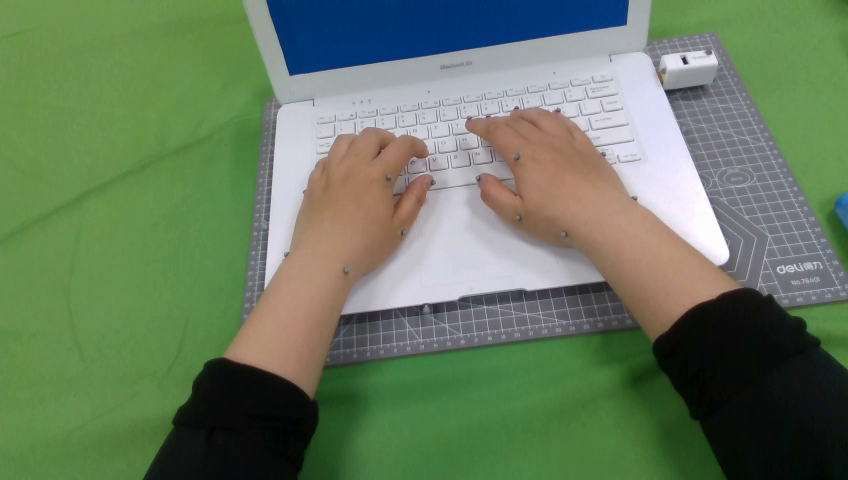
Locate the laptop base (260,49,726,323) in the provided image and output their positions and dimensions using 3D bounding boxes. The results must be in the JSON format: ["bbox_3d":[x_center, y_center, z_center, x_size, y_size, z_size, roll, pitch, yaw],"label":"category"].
[{"bbox_3d":[0.040,-0.054,0.516,0.354,0.023,0.233,-8,59,3],"label":"laptop base"}]

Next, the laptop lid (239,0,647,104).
[{"bbox_3d":[0.014,-0.236,0.500,0.356,0.244,0.013,-9,43,4],"label":"laptop lid"}]

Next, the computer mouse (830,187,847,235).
[{"bbox_3d":[0.345,0.000,0.426,0.063,0.041,0.116,-12,51,4],"label":"computer mouse"}]

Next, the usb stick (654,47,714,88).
[{"bbox_3d":[0.223,-0.153,0.540,0.059,0.027,0.021,-8,56,7],"label":"usb stick"}]
